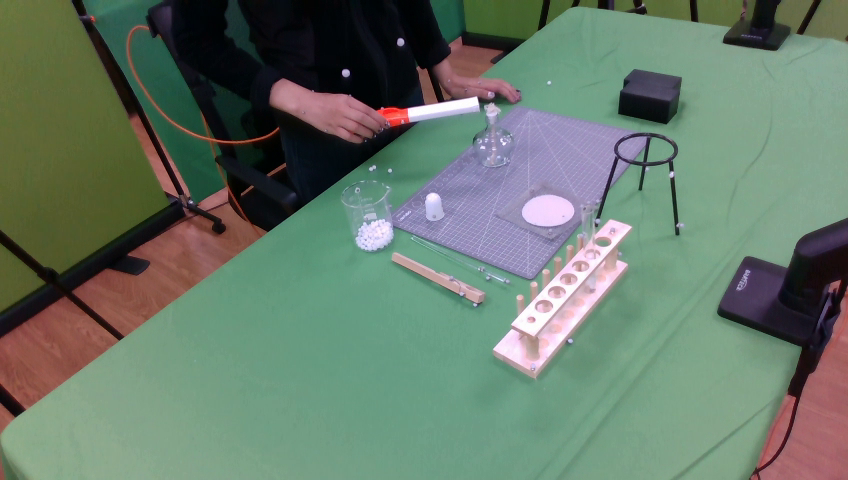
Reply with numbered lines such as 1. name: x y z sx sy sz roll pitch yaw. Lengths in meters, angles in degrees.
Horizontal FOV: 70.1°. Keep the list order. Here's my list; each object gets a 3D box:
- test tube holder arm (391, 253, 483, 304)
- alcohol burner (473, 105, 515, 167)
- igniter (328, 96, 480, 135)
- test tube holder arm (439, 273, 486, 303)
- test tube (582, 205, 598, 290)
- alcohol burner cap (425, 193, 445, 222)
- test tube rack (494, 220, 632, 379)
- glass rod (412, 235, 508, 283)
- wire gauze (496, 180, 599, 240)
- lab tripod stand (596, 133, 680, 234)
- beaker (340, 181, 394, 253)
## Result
1. test tube holder arm: 0.016 0.056 0.917 0.177 0.015 0.013 24 17 34
2. alcohol burner: 0.128 -0.196 1.116 0.078 0.119 0.077 -4 40 4
3. igniter: -0.039 -0.224 1.089 0.276 0.025 0.057 -9 44 3
4. test tube holder arm: 0.053 0.070 0.896 0.087 0.015 0.010 24 17 35
5. test tube: 0.220 0.014 0.798 0.017 0.151 0.017 -9 43 9
6. alcohol burner cap: 0.017 -0.058 1.029 0.034 0.048 0.033 -6 40 5
7. test tube rack: 0.191 0.068 0.818 0.066 0.085 0.243 25 51 35
8. glass rod: 0.051 0.028 0.951 0.198 0.008 0.008 25 51 37
9. wire gauze: 0.206 -0.050 1.012 0.125 0.011 0.120 -34 45 -26
10. lab tripod stand: 0.338 -0.090 0.940 0.148 0.132 0.147 -7 39 6
11. beaker: -0.087 -0.037 0.985 0.084 0.101 0.073 -18 41 -11
